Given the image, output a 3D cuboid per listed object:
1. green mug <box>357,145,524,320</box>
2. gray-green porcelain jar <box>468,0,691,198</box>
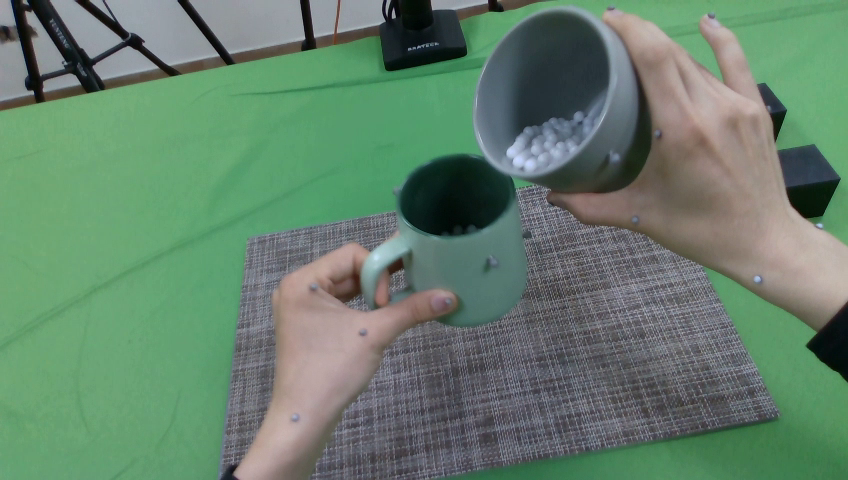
[{"bbox_3d":[0.010,0.006,0.428,0.125,0.106,0.091,-31,53,-14],"label":"green mug"},{"bbox_3d":[0.109,-0.086,0.407,0.105,0.127,0.105,-9,77,43],"label":"gray-green porcelain jar"}]
